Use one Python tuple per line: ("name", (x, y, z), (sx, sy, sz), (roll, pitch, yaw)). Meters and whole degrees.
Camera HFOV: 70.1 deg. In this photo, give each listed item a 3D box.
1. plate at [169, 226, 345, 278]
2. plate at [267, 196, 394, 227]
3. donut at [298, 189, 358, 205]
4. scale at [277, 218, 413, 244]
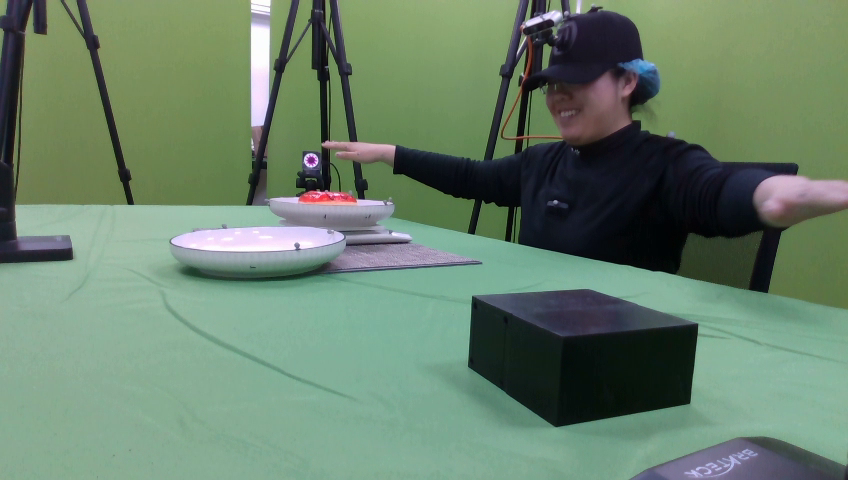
("plate", (-0.202, 0.014, 0.748), (0.209, 0.038, 0.209), (1, 9, 0))
("plate", (-0.152, -0.047, 0.998), (0.208, 0.039, 0.207), (2, 7, 0))
("donut", (-0.158, -0.059, 0.996), (0.099, 0.048, 0.099), (2, 4, 0))
("scale", (-0.134, -0.016, 1.015), (0.202, 0.031, 0.148), (-2, 9, -33))
